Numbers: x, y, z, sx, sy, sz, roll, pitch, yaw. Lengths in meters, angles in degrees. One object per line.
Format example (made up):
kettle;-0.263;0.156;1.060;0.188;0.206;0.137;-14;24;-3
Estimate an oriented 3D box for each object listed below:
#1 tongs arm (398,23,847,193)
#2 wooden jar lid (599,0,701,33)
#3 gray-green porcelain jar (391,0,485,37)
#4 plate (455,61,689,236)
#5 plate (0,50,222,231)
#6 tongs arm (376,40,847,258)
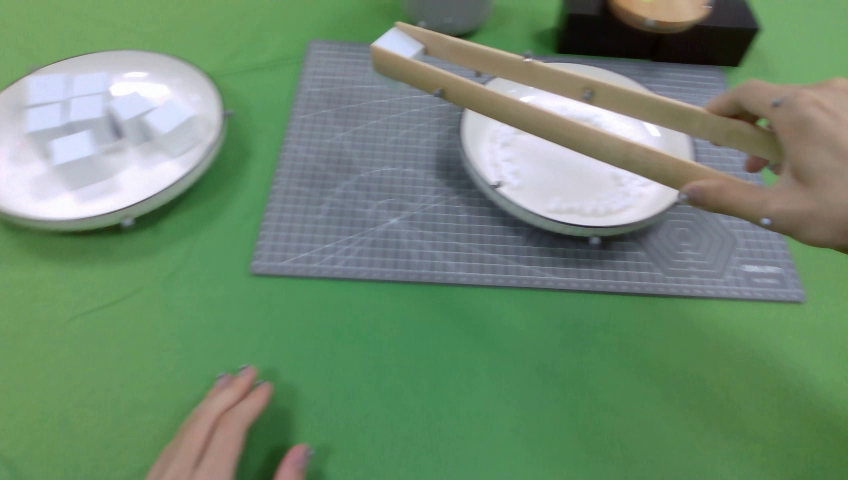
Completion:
tongs arm;0.133;-0.083;0.416;0.382;0.027;0.050;23;56;21
wooden jar lid;0.232;-0.252;0.635;0.108;0.021;0.107;2;55;-3
gray-green porcelain jar;0.017;-0.292;0.645;0.106;0.127;0.105;2;53;-2
plate;0.130;-0.084;0.552;0.209;0.038;0.207;2;54;-2
plate;-0.281;-0.087;0.530;0.208;0.039;0.205;2;54;-2
tongs arm;0.121;-0.069;0.406;0.385;0.028;0.028;27;54;24
